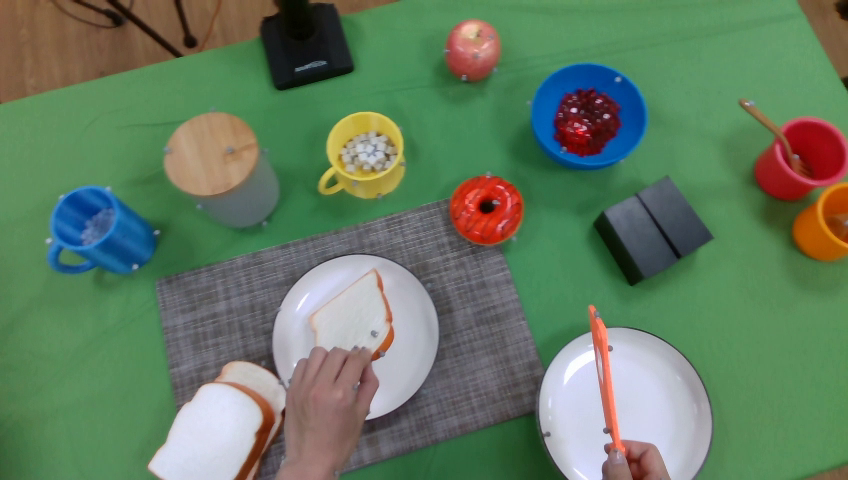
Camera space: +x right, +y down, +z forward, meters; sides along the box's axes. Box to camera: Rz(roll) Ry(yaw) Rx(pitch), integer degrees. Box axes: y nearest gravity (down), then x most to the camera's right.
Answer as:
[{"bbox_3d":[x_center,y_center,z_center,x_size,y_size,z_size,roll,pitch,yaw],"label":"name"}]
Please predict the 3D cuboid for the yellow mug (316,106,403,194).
[{"bbox_3d":[-0.092,-0.111,0.814,0.131,0.064,0.099,-39,77,-10],"label":"yellow mug"}]

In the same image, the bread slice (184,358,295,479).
[{"bbox_3d":[-0.211,0.210,0.727,0.105,0.019,0.131,18,72,-2],"label":"bread slice"}]

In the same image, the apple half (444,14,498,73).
[{"bbox_3d":[0.073,-0.283,0.862,0.080,0.075,0.053,38,71,15],"label":"apple half"}]

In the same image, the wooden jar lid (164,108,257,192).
[{"bbox_3d":[-0.250,-0.104,0.716,0.108,0.021,0.107,0,71,1],"label":"wooden jar lid"}]

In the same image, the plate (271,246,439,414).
[{"bbox_3d":[-0.085,0.111,0.758,0.208,0.039,0.206,0,74,0],"label":"plate"}]

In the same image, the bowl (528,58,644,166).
[{"bbox_3d":[0.211,-0.160,0.821,0.151,0.077,0.150,0,74,1],"label":"bowl"}]

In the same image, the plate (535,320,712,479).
[{"bbox_3d":[0.236,0.203,0.733,0.209,0.038,0.208,0,73,1],"label":"plate"}]

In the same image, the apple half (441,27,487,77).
[{"bbox_3d":[0.049,-0.255,0.851,0.081,0.082,0.032,38,72,11],"label":"apple half"}]

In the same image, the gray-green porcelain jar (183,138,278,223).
[{"bbox_3d":[-0.249,-0.085,0.776,0.106,0.127,0.105,0,73,0],"label":"gray-green porcelain jar"}]

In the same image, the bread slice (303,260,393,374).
[{"bbox_3d":[-0.084,0.092,0.707,0.107,0.018,0.133,-39,39,4],"label":"bread slice"}]

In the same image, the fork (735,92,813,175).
[{"bbox_3d":[0.452,-0.134,0.776,0.209,0.018,0.028,27,69,-35],"label":"fork"}]

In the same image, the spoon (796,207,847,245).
[{"bbox_3d":[0.562,-0.050,0.750,0.022,0.194,0.041,-4,64,-48],"label":"spoon"}]

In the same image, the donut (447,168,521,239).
[{"bbox_3d":[0.080,-0.048,0.802,0.099,0.048,0.098,0,74,0],"label":"donut"}]

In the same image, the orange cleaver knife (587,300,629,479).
[{"bbox_3d":[0.186,0.167,0.612,0.012,0.077,0.211,-9,90,5],"label":"orange cleaver knife"}]

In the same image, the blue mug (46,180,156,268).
[{"bbox_3d":[-0.414,-0.007,0.763,0.116,0.106,0.082,-41,77,-11],"label":"blue mug"}]
